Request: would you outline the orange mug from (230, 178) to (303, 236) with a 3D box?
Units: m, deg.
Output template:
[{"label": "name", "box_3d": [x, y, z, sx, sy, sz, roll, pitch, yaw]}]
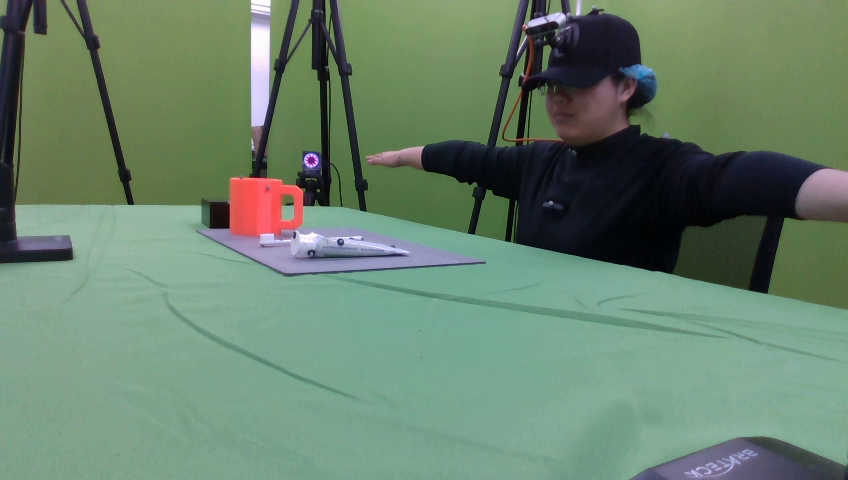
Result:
[{"label": "orange mug", "box_3d": [-0.275, -0.060, 1.058, 0.126, 0.101, 0.083, -2, 8, -5]}]

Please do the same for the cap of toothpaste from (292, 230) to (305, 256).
[{"label": "cap of toothpaste", "box_3d": [-0.169, 0.005, 0.812, 0.011, 0.037, 0.037, 6, 4, -30]}]

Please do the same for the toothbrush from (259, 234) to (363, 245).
[{"label": "toothbrush", "box_3d": [-0.175, -0.002, 0.958, 0.183, 0.016, 0.014, -1, -5, -39]}]

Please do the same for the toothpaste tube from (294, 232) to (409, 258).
[{"label": "toothpaste tube", "box_3d": [-0.103, 0.010, 0.853, 0.166, 0.034, 0.055, 3, 11, -34]}]
